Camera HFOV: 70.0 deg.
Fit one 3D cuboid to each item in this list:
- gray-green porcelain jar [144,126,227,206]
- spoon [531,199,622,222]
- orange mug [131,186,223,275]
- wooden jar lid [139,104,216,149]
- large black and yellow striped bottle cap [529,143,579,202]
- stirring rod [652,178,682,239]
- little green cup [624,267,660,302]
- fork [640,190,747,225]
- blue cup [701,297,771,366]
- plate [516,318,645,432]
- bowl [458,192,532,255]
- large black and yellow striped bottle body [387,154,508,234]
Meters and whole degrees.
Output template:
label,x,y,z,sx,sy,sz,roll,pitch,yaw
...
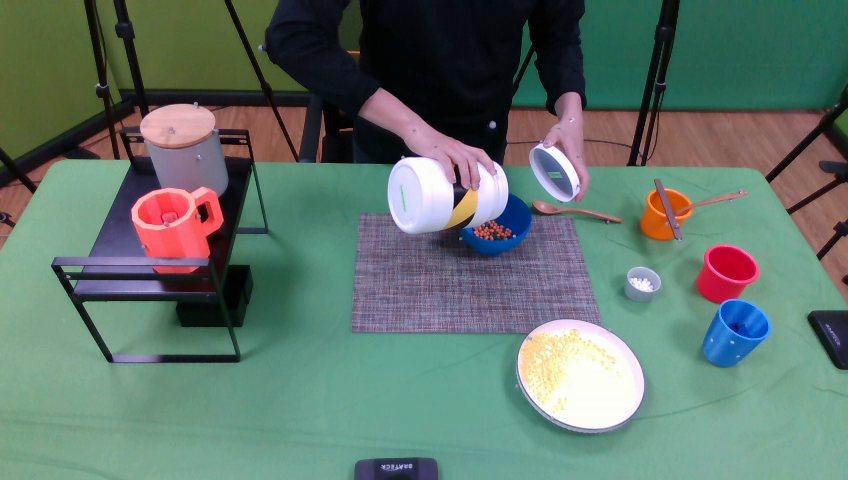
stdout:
label,x,y,z,sx,sy,sz,roll,pitch,yaw
gray-green porcelain jar,-0.375,-0.125,0.967,0.106,0.127,0.105,2,46,-2
spoon,0.322,-0.060,1.279,0.194,0.022,0.041,8,32,4
orange mug,-0.354,-0.023,0.887,0.083,0.101,0.126,31,56,24
wooden jar lid,-0.372,-0.169,0.920,0.108,0.021,0.107,4,44,-4
large black and yellow striped bottle cap,0.231,-0.121,1.081,0.019,0.115,0.114,-35,56,-11
stirring rod,0.481,-0.065,1.204,0.014,0.006,0.175,1,46,0
little green cup,0.406,0.084,1.135,0.061,0.039,0.061,3,46,-3
fork,0.533,-0.064,1.211,0.207,0.019,0.028,-22,28,38
blue cup,0.519,0.162,1.025,0.093,0.101,0.092,3,45,-3
plate,0.253,0.221,0.992,0.209,0.038,0.208,2,46,-2
bowl,0.130,-0.025,1.186,0.151,0.077,0.150,2,46,-2
large black and yellow striped bottle body,0.042,-0.083,1.052,0.184,0.131,0.130,-7,45,-32
